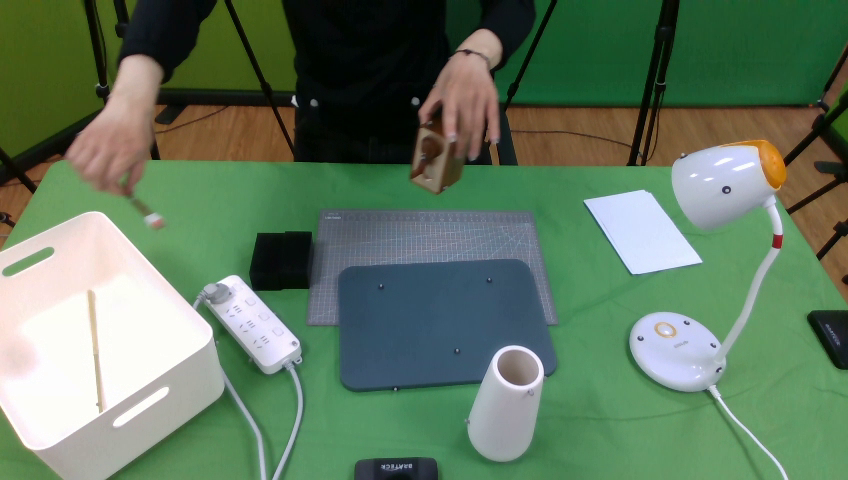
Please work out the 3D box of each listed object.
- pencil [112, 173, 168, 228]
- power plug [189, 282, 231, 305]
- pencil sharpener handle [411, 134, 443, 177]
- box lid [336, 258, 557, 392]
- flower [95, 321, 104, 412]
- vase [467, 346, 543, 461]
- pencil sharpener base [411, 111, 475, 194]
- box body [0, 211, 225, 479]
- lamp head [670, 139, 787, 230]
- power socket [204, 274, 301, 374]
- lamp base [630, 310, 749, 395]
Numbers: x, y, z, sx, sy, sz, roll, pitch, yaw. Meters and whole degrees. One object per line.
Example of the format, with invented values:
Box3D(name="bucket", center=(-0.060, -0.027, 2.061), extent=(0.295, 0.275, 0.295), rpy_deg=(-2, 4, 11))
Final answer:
Box3D(name="pencil", center=(-0.391, -0.059, 0.825), extent=(0.012, 0.012, 0.193), rpy_deg=(-31, 44, -29))
Box3D(name="power plug", center=(-0.368, 0.097, 1.039), extent=(0.072, 0.053, 0.035), rpy_deg=(-26, 56, -21))
Box3D(name="pencil sharpener handle", center=(0.000, -0.125, 0.916), extent=(0.036, 0.068, 0.030), rpy_deg=(35, 43, 14))
Box3D(name="box lid", center=(0.030, 0.140, 1.073), extent=(0.372, 0.015, 0.261), rpy_deg=(-3, 47, -7))
Box3D(name="flower", center=(-0.515, 0.209, 0.959), extent=(0.044, 0.038, 0.359), rpy_deg=(-1, 39, -30))
Box3D(name="vase", center=(0.116, 0.234, 0.861), extent=(0.098, 0.201, 0.097), rpy_deg=(1, 47, -1))
Box3D(name="pencil sharpener base", center=(0.027, -0.138, 0.959), extent=(0.061, 0.107, 0.076), rpy_deg=(29, 41, 19))
Box3D(name="box body", center=(-0.504, 0.154, 0.916), extent=(0.362, 0.161, 0.254), rpy_deg=(36, 54, 27))
Box3D(name="lamp head", center=(0.415, -0.079, 0.812), extent=(0.113, 0.123, 0.112), rpy_deg=(12, 70, -37))
Box3D(name="power socket", center=(-0.296, 0.140, 1.035), extent=(0.072, 0.033, 0.225), rpy_deg=(-33, 57, -29))
Box3D(name="lamp base", center=(0.447, 0.142, 0.984), extent=(0.161, 0.181, 0.178), rpy_deg=(-24, 55, -24))
